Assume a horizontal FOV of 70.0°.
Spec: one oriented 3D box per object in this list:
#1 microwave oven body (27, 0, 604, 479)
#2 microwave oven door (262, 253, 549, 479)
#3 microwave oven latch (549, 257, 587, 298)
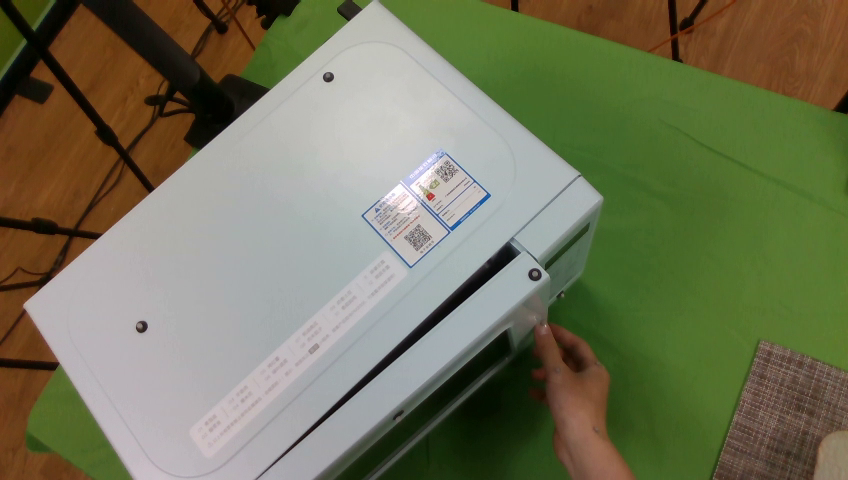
[{"bbox_3d":[-0.094,0.034,0.639,0.441,0.262,0.323,-43,71,-4],"label":"microwave oven body"},{"bbox_3d":[-0.023,0.164,0.580,0.356,0.245,0.039,-40,69,-4],"label":"microwave oven door"},{"bbox_3d":[0.151,0.042,0.696,0.079,0.030,0.030,-41,71,-3],"label":"microwave oven latch"}]
